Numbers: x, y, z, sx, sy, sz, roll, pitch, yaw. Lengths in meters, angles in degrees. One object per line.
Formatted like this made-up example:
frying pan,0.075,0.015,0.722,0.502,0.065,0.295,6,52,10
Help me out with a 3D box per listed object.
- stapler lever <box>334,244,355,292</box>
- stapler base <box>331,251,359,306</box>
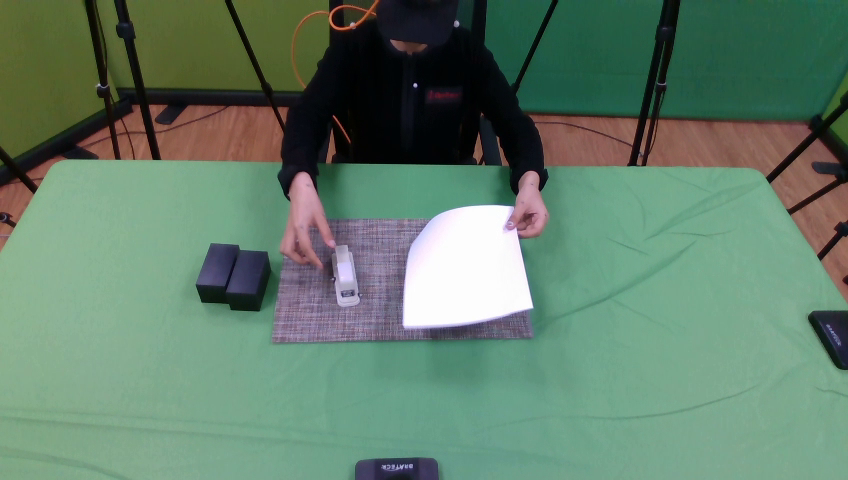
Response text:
stapler lever,-0.146,0.045,1.102,0.027,0.040,0.117,-4,45,-12
stapler base,-0.147,0.064,1.119,0.041,0.024,0.129,-4,45,-13
